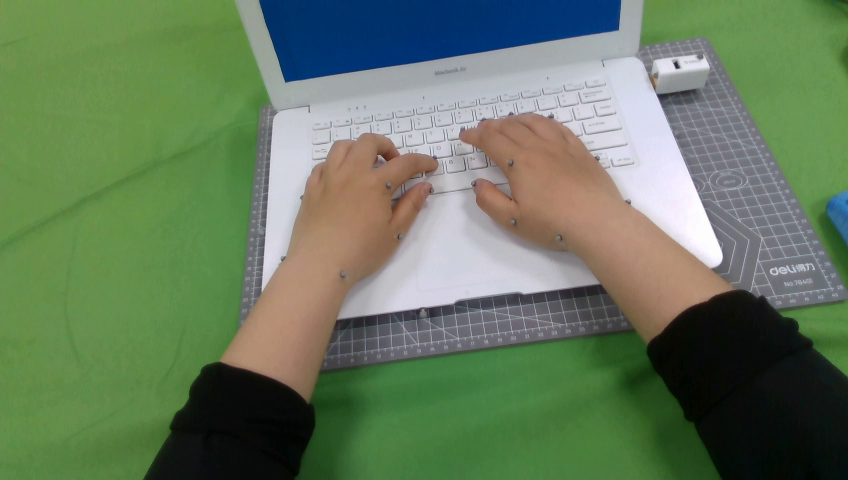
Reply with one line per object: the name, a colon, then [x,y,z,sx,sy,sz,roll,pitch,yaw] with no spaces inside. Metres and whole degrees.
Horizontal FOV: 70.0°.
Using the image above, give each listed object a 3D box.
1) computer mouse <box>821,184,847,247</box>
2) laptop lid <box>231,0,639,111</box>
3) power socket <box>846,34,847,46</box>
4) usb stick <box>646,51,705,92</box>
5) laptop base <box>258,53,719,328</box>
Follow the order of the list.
computer mouse: [0.342,-0.001,0.431,0.063,0.041,0.116,-12,51,3]
laptop lid: [0.009,-0.233,0.506,0.356,0.244,0.013,-10,43,3]
power socket: [0.428,-0.119,0.500,0.072,0.033,0.224,-5,56,5]
usb stick: [0.218,-0.151,0.546,0.059,0.027,0.021,-9,55,6]
laptop base: [0.036,-0.051,0.520,0.354,0.023,0.233,-8,59,2]
